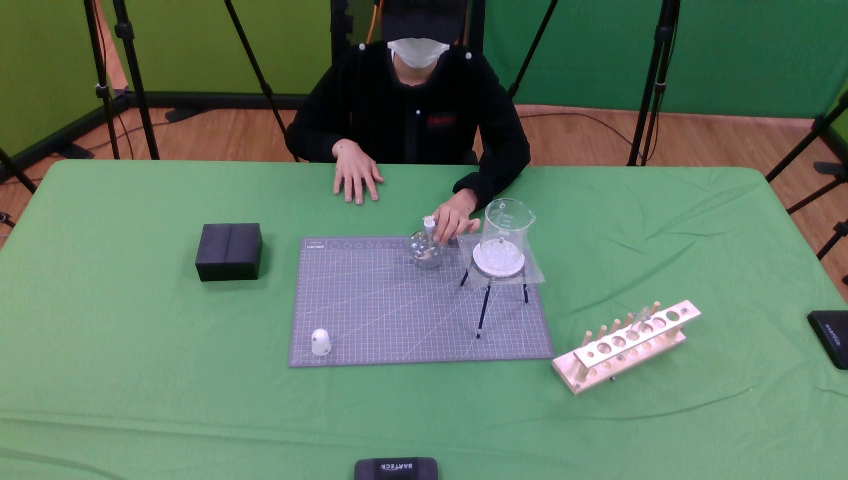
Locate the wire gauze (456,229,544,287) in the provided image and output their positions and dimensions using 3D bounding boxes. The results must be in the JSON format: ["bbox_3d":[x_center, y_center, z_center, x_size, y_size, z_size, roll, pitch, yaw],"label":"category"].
[{"bbox_3d":[0.125,0.030,1.008,0.125,0.011,0.120,-3,48,-11],"label":"wire gauze"}]

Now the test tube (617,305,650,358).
[{"bbox_3d":[0.333,0.149,0.967,0.017,0.151,0.017,0,52,1],"label":"test tube"}]

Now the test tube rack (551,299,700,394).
[{"bbox_3d":[0.339,0.166,1.021,0.242,0.085,0.066,-19,50,-21],"label":"test tube rack"}]

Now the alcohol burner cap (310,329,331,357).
[{"bbox_3d":[-0.173,0.168,1.004,0.034,0.048,0.033,2,46,-2],"label":"alcohol burner cap"}]

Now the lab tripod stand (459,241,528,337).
[{"bbox_3d":[0.122,0.075,1.054,0.148,0.132,0.147,3,44,-3],"label":"lab tripod stand"}]

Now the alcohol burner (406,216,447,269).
[{"bbox_3d":[0.006,-0.003,1.134,0.078,0.120,0.077,2,48,-2],"label":"alcohol burner"}]

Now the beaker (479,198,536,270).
[{"bbox_3d":[0.131,-0.007,0.975,0.084,0.101,0.073,2,46,-4],"label":"beaker"}]
